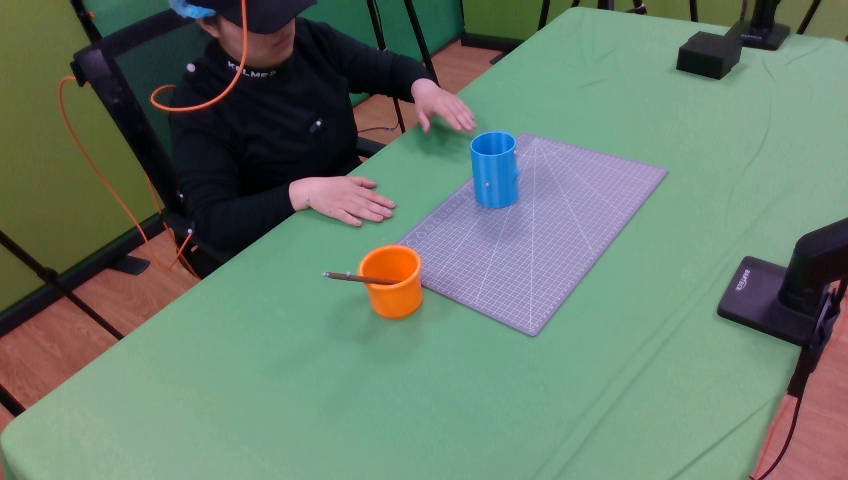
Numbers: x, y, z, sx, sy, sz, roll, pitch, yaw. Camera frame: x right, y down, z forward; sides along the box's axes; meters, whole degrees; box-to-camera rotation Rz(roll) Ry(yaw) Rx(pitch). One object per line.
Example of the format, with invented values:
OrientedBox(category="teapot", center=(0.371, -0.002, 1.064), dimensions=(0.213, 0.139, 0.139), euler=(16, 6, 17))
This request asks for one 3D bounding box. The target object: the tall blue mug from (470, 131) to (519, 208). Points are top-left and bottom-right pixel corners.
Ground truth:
OrientedBox(category="tall blue mug", center=(0.122, -0.129, 1.042), dimensions=(0.078, 0.108, 0.106), euler=(-7, 40, 5))

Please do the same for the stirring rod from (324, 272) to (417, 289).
OrientedBox(category="stirring rod", center=(-0.069, 0.057, 0.840), dimensions=(0.014, 0.006, 0.178), euler=(27, 9, 39))
